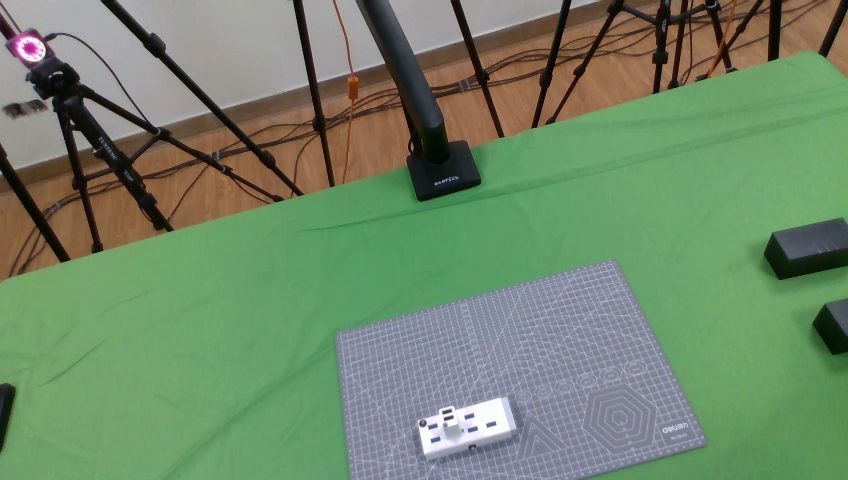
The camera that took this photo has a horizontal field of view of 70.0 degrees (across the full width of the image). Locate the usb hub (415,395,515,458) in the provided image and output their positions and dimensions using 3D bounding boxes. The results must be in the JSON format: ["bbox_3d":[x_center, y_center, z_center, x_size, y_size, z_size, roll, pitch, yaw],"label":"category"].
[{"bbox_3d":[0.053,0.245,0.800,0.125,0.025,0.049,-15,51,0],"label":"usb hub"}]

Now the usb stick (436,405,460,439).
[{"bbox_3d":[0.032,0.236,0.776,0.021,0.060,0.027,-18,49,-1],"label":"usb stick"}]
